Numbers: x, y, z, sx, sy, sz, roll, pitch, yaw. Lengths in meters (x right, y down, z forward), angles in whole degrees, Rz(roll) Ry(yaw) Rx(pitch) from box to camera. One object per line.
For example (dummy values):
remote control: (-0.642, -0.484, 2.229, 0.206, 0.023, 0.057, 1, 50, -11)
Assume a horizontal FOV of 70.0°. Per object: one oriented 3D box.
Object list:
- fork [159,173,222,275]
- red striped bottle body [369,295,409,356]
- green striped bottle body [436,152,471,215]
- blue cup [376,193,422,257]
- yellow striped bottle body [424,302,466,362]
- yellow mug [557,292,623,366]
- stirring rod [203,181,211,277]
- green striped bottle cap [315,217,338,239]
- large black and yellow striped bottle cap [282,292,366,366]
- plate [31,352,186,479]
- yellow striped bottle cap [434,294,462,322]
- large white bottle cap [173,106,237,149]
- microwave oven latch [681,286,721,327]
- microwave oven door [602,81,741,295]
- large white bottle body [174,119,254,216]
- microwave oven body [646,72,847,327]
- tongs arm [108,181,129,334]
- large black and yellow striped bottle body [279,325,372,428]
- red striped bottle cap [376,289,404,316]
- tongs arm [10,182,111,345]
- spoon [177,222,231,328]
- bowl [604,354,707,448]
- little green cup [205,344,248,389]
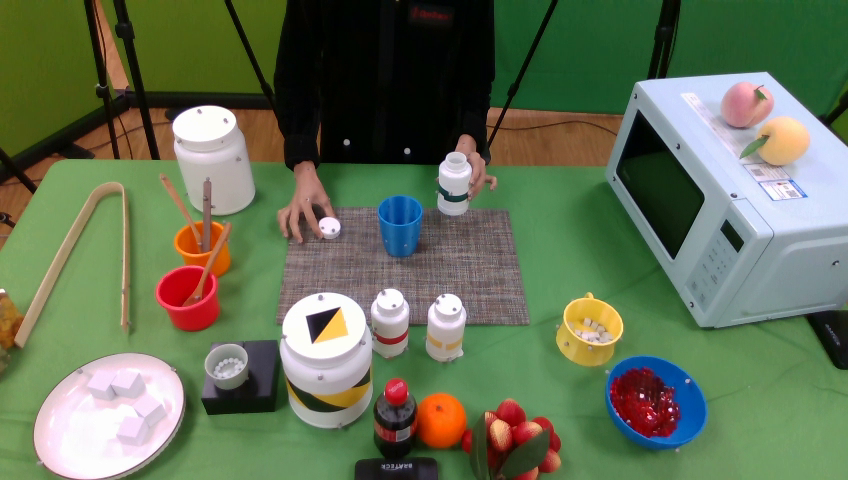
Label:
fork: (-0.427, -0.029, 1.103, 0.028, 0.018, 0.207, -31, 99, -31)
red striped bottle body: (-0.059, 0.134, 0.997, 0.063, 0.120, 0.062, 5, 47, -5)
green striped bottle body: (0.056, -0.110, 1.159, 0.063, 0.120, 0.063, 2, 45, -1)
blue cup: (-0.047, -0.022, 1.155, 0.093, 0.101, 0.092, 1, 47, -1)
yellow striped bottle body: (0.035, 0.143, 0.995, 0.063, 0.121, 0.062, 3, 46, -3)
yellow mug: (0.285, 0.145, 1.051, 0.100, 0.064, 0.130, 7, 45, 4)
stirring rod: (-0.396, -0.021, 1.108, 0.014, 0.006, 0.176, -1, 89, -2)
green striped bottle cap: (-0.192, -0.025, 1.199, 0.044, 0.020, 0.044, 8, 51, -10)
large black and yellow striped bottle cap: (-0.138, 0.121, 0.841, 0.115, 0.019, 0.114, 3, 47, -3)
plate: (-0.459, 0.262, 0.898, 0.209, 0.038, 0.208, 2, 46, -2)
yellow striped bottle cap: (0.038, 0.107, 0.958, 0.044, 0.019, 0.044, 2, 45, -2)
large white bottle cap: (-0.411, -0.212, 1.138, 0.115, 0.018, 0.114, 2, 47, -2)
microwave oven latch: (0.494, 0.119, 1.086, 0.030, 0.029, 0.078, -5, 46, -9)
microwave oven door: (0.456, -0.107, 1.162, 0.039, 0.245, 0.353, -7, 47, -11)
large white bottle body: (-0.415, -0.155, 1.199, 0.131, 0.185, 0.130, 2, 46, -2)
microwave oven body: (0.607, -0.089, 1.164, 0.326, 0.261, 0.438, -7, 46, -10)
tongs arm: (-0.571, 0.019, 1.123, 0.051, 0.026, 0.382, -11, 47, -12)
large black and yellow striped bottle body: (-0.143, 0.181, 0.900, 0.131, 0.185, 0.130, 2, 46, -2)
red striped bottle cap: (-0.054, 0.098, 0.958, 0.044, 0.018, 0.044, 0, 48, 1)
tongs arm: (-0.658, 0.027, 1.109, 0.028, 0.028, 0.385, -2, 45, 2)
spoon: (-0.369, 0.059, 1.027, 0.041, 0.022, 0.193, 25, 94, 19)
bowl: (0.346, 0.261, 0.937, 0.151, 0.077, 0.150, 2, 46, -2)
little green cup: (-0.294, 0.191, 0.909, 0.061, 0.039, 0.061, 1, 47, -1)
